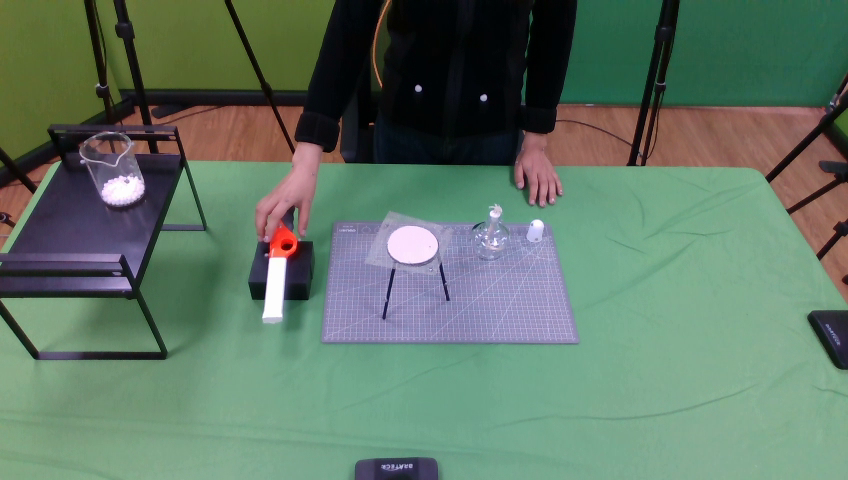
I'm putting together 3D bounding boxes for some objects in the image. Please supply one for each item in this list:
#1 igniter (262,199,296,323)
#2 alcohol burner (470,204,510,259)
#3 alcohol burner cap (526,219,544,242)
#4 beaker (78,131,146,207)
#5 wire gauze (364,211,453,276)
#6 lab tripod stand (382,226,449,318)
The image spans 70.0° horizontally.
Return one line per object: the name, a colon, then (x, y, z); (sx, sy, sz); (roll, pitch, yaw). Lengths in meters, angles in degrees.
igniter: (-0.259, 0.027, 1.083); (0.057, 0.025, 0.274); (0, 49, -7)
alcohol burner: (0.129, -0.021, 1.161); (0.078, 0.119, 0.077); (3, 44, -2)
alcohol burner cap: (0.225, -0.021, 1.218); (0.034, 0.048, 0.033); (1, 46, -1)
beaker: (-0.488, -0.108, 0.961); (0.074, 0.101, 0.083); (-25, 54, -25)
wire gauze: (-0.024, 0.006, 1.016); (0.121, 0.011, 0.124); (14, 48, 9)
lab tripod stand: (-0.024, 0.055, 1.062); (0.148, 0.132, 0.147); (2, 48, -2)
